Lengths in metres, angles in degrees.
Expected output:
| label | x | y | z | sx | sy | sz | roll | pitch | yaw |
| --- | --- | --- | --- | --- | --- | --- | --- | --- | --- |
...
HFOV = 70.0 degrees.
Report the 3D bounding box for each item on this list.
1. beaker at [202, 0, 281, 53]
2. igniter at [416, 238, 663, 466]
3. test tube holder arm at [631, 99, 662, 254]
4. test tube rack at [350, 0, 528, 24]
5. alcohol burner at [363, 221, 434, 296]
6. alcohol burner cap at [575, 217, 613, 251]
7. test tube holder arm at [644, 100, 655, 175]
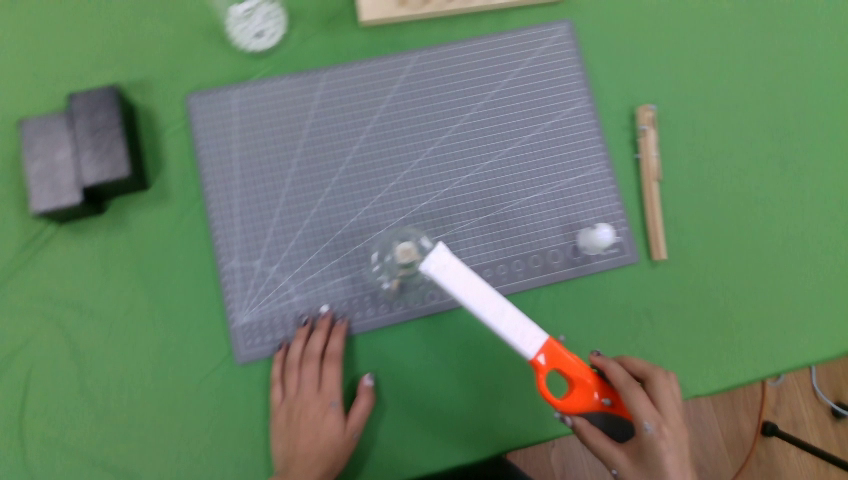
| label | x | y | z | sx | sy | sz | roll | pitch | yaw |
| --- | --- | --- | --- | --- | --- | --- | --- | --- | --- |
| beaker | -0.194 | -0.249 | 0.643 | 0.074 | 0.100 | 0.083 | -11 | 82 | -6 |
| igniter | 0.106 | 0.099 | 0.535 | 0.277 | 0.025 | 0.057 | 41 | 78 | -2 |
| test tube holder arm | 0.253 | -0.073 | 0.688 | 0.013 | 0.015 | 0.178 | 2 | 81 | -39 |
| test tube rack | 0.035 | -0.309 | 0.676 | 0.242 | 0.085 | 0.066 | -10 | 82 | -6 |
| alcohol burner | -0.022 | 0.016 | 0.604 | 0.078 | 0.119 | 0.077 | 1 | 79 | -5 |
| alcohol burner cap | 0.186 | -0.008 | 0.659 | 0.034 | 0.048 | 0.033 | 1 | 79 | -4 |
| test tube holder arm | 0.254 | -0.117 | 0.697 | 0.010 | 0.015 | 0.087 | 4 | 79 | -38 |
